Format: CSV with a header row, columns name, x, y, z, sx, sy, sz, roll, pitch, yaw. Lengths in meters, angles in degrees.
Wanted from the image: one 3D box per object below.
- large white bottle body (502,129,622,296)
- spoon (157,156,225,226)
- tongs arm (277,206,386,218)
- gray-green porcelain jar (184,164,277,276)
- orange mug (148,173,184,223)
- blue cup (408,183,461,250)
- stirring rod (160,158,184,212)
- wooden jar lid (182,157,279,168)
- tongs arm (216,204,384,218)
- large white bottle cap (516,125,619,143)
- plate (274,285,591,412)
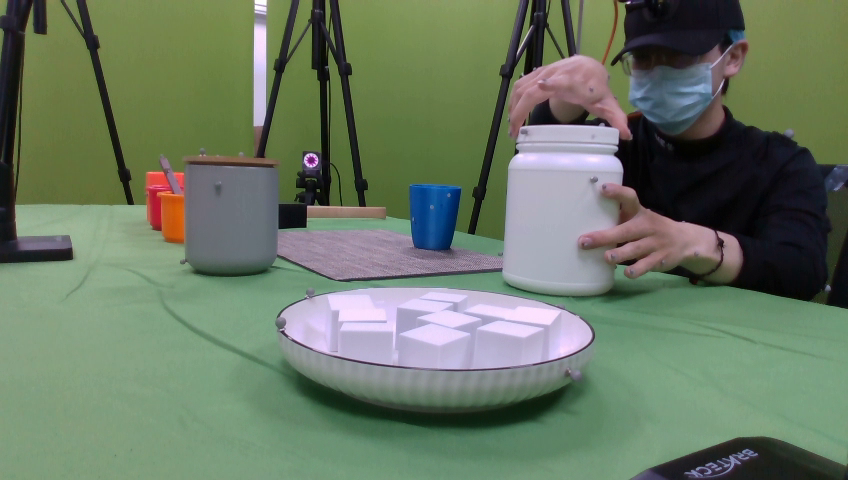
name,x,y,z,sx,sy,sz,roll,pitch,yaw
large white bottle body,0.160,-0.037,0.706,0.131,0.184,0.130,2,8,0
spoon,-0.425,-0.094,1.117,0.041,0.022,0.194,4,51,29
tongs arm,-0.251,-0.063,1.360,0.387,0.026,0.050,-1,3,-31
gray-green porcelain jar,-0.230,-0.025,0.722,0.106,0.126,0.106,3,7,0
orange mug,-0.490,-0.087,1.222,0.127,0.101,0.083,-9,13,-38
blue cup,0.015,-0.038,0.970,0.093,0.100,0.092,2,9,0
stirring rod,-0.390,-0.070,0.972,0.014,0.006,0.175,-1,49,-49
wooden jar lid,-0.227,-0.086,0.714,0.108,0.020,0.108,1,6,0
tongs arm,-0.288,-0.069,1.435,0.389,0.027,0.028,0,-1,-17
large white bottle cap,0.164,-0.120,0.694,0.115,0.018,0.115,2,7,0
plate,0.005,0.069,0.408,0.208,0.039,0.207,2,7,0
